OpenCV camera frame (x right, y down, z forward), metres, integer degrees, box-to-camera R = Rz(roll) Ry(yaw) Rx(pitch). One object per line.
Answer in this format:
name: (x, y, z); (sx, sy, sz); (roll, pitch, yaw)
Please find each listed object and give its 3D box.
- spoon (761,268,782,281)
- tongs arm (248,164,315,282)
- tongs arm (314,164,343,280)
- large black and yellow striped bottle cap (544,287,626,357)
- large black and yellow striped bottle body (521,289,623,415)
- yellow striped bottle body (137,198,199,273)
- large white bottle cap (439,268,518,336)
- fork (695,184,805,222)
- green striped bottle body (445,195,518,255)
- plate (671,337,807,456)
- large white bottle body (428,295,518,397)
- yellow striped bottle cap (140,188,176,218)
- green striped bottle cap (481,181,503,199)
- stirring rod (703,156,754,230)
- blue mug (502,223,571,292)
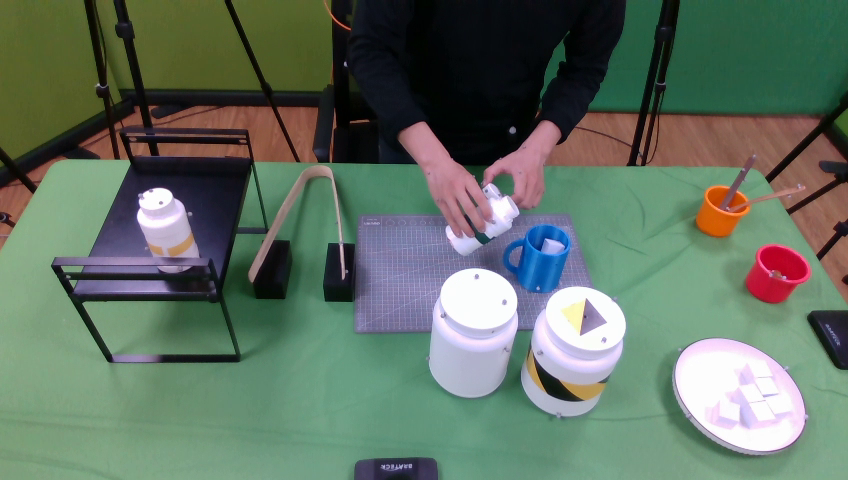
spoon: (0.638, 0.060, 1.105); (0.041, 0.021, 0.194); (38, 11, 24)
tongs arm: (-0.270, -0.047, 1.165); (0.028, 0.028, 0.385); (-1, 34, 7)
tongs arm: (-0.188, -0.049, 1.170); (0.051, 0.026, 0.382); (-5, 35, -6)
large black and yellow striped bottle cap: (0.232, 0.116, 0.876); (0.115, 0.019, 0.114); (2, 46, -1)
large black and yellow striped bottle body: (0.228, 0.173, 0.937); (0.131, 0.185, 0.130); (2, 47, -2)
yellow striped bottle body: (-0.366, -0.014, 0.864); (0.063, 0.121, 0.062); (2, 46, -2)
large white bottle cap: (0.080, 0.089, 0.888); (0.115, 0.018, 0.114); (2, 47, -2)
fork: (0.657, -0.075, 1.230); (0.207, 0.019, 0.028); (-23, 34, 37)
green striped bottle body: (0.099, -0.029, 1.020); (0.119, 0.063, 0.063); (-32, 43, 22)
plate: (0.503, 0.254, 0.984); (0.208, 0.039, 0.206); (2, 46, -2)
large white bottle body: (0.076, 0.147, 0.950); (0.131, 0.185, 0.130); (2, 46, -2)
yellow striped bottle cap: (-0.363, -0.051, 0.826); (0.044, 0.019, 0.044); (1, 47, -1)
green striped bottle cap: (0.124, -0.085, 1.100); (0.044, 0.020, 0.044); (38, 26, -22)
stirring rod: (0.631, -0.098, 1.258); (0.014, 0.006, 0.176); (33, 95, 29)
blue mug: (0.203, 0.031, 1.121); (0.116, 0.106, 0.082); (5, 47, 1)
